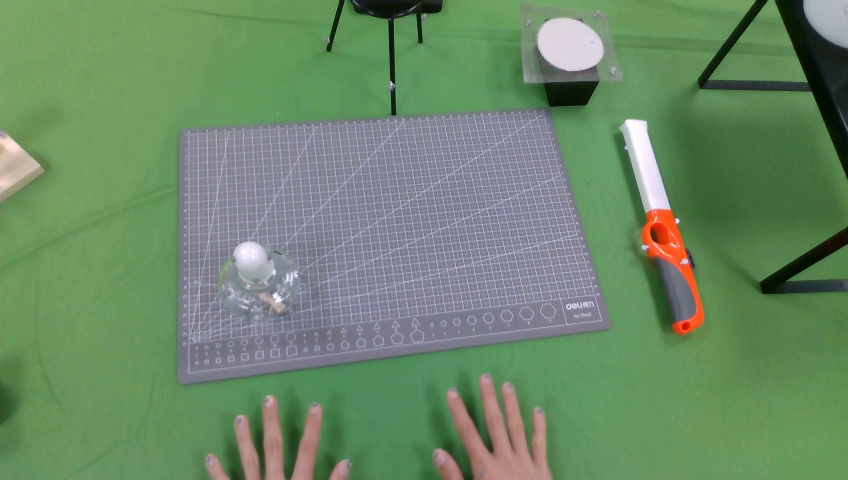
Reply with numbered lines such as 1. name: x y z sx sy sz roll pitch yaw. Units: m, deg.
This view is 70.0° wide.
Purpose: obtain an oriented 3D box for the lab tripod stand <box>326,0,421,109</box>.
1. lab tripod stand: -0.048 -0.253 0.717 0.149 0.132 0.147 3 66 -7

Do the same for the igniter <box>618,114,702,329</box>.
1. igniter: 0.275 -0.029 0.713 0.057 0.025 0.274 1 66 -18

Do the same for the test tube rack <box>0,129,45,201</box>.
1. test tube rack: -0.513 -0.036 0.587 0.066 0.085 0.242 39 67 11

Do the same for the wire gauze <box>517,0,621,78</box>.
1. wire gauze: 0.179 -0.252 0.760 0.122 0.011 0.124 2 65 -6

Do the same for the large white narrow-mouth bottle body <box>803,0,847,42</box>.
1. large white narrow-mouth bottle body: 0.457 -0.284 0.560 0.102 0.196 0.101 3 65 -5

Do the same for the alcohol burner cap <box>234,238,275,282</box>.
1. alcohol burner cap: -0.156 0.016 0.549 0.034 0.048 0.033 1 71 -3

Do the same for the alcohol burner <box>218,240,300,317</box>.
1. alcohol burner: -0.160 0.030 0.582 0.078 0.120 0.077 4 63 -7
